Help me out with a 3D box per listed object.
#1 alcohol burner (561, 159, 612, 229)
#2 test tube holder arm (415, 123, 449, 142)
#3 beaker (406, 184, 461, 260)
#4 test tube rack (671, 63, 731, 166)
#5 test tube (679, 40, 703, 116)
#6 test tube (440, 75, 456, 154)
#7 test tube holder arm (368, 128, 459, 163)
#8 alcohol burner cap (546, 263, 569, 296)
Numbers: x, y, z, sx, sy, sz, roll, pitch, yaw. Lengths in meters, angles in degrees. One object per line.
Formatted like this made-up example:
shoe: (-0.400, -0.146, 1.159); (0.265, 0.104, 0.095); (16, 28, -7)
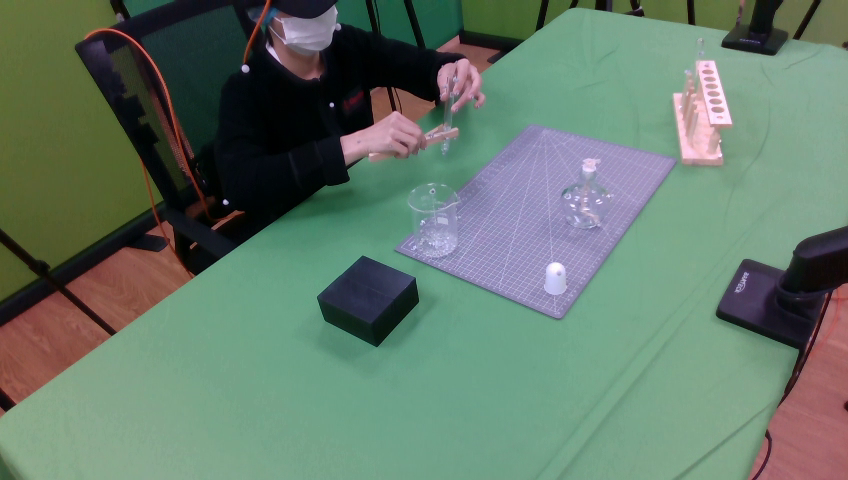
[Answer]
alcohol burner: (0.257, -0.077, 0.951); (0.078, 0.119, 0.077); (-3, 40, 3)
test tube holder arm: (0.014, -0.184, 1.068); (0.010, 0.015, 0.088); (26, 45, 28)
beaker: (0.019, -0.026, 0.939); (0.084, 0.101, 0.074); (1, 41, 9)
test tube rack: (0.513, -0.241, 1.132); (0.066, 0.085, 0.242); (4, 41, 14)
test tube: (0.502, -0.303, 1.138); (0.017, 0.151, 0.017); (-3, 40, 3)
test tube: (0.041, -0.216, 1.056); (0.017, 0.150, 0.017); (3, 41, -2)
test tube holder arm: (-0.016, -0.164, 1.043); (0.179, 0.015, 0.013); (-22, 43, -26)
alcohol burner cap: (0.191, 0.053, 0.862); (0.034, 0.048, 0.033); (-5, 40, 4)
